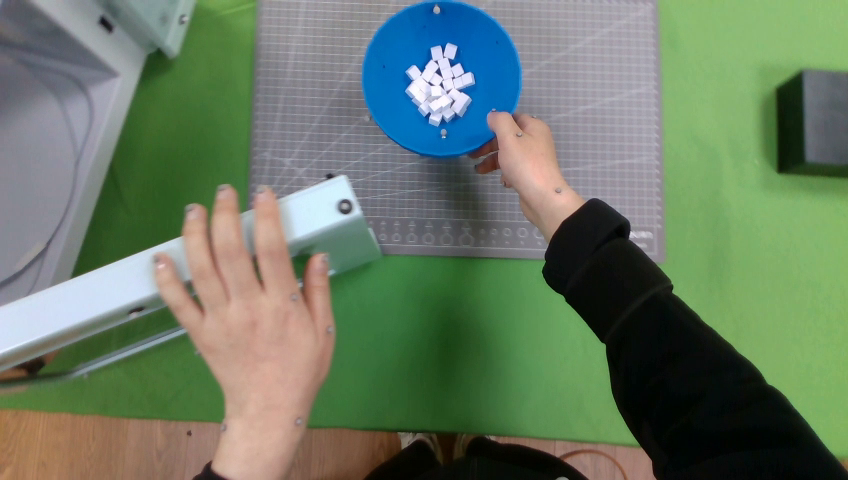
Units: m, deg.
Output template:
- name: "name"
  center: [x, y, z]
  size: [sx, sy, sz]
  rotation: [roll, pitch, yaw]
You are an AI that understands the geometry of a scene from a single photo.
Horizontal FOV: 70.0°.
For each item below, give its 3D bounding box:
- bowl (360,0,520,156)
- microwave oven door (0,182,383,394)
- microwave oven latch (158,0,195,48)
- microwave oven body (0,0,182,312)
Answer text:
- name: "bowl"
  center: [0.015, -0.149, 0.597]
  size: [0.151, 0.077, 0.151]
  rotation: [0, 84, 0]
- name: "microwave oven door"
  center: [-0.212, 0.049, 0.502]
  size: [0.356, 0.244, 0.039]
  rotation: [-22, 83, -4]
- name: "microwave oven latch"
  center: [-0.262, -0.247, 0.638]
  size: [0.030, 0.029, 0.079]
  rotation: [17, 84, 0]
- name: "microwave oven body"
  center: [-0.452, -0.131, 0.522]
  size: [0.326, 0.260, 0.440]
  rotation: [16, 84, 0]
